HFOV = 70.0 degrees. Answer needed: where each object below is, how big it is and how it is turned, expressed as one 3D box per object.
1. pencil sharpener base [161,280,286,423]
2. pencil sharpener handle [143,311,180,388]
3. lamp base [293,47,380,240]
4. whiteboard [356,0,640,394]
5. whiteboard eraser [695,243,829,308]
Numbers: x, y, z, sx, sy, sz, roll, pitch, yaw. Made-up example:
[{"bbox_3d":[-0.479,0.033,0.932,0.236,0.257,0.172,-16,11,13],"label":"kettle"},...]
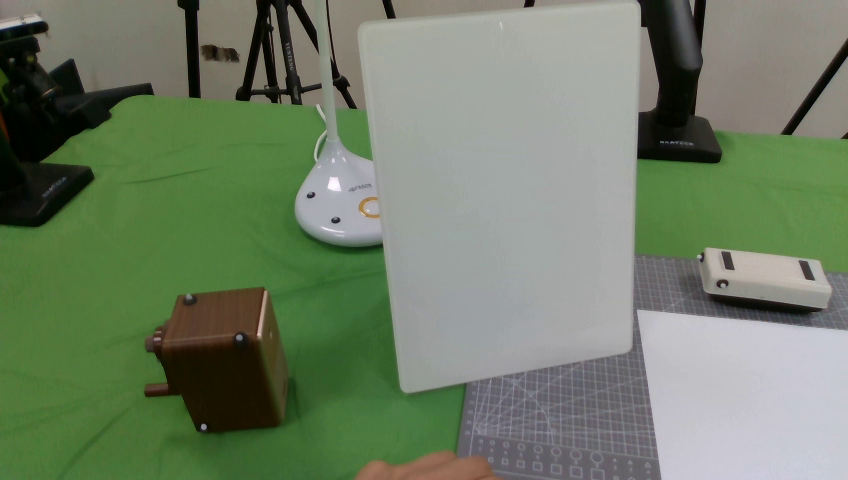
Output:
[{"bbox_3d":[-0.159,0.092,0.489,0.077,0.108,0.060,-5,39,-4],"label":"pencil sharpener base"},{"bbox_3d":[-0.210,0.088,0.474,0.031,0.068,0.035,-5,26,-4],"label":"pencil sharpener handle"},{"bbox_3d":[-0.088,-0.118,0.697,0.161,0.182,0.177,-27,43,-29],"label":"lamp base"},{"bbox_3d":[0.059,-0.047,0.551,0.217,0.307,0.142,-8,20,-8],"label":"whiteboard"},{"bbox_3d":[0.333,0.036,0.604,0.112,0.042,0.055,8,40,11],"label":"whiteboard eraser"}]
